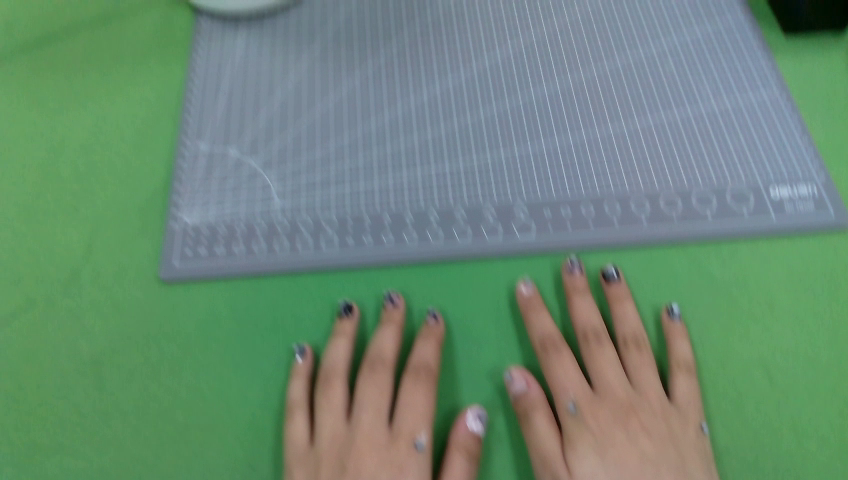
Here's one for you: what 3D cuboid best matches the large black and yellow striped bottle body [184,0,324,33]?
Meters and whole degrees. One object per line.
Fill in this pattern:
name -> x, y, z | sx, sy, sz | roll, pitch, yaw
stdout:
large black and yellow striped bottle body -> -0.147, -0.269, 0.456 | 0.131, 0.185, 0.129 | -1, 58, 2
